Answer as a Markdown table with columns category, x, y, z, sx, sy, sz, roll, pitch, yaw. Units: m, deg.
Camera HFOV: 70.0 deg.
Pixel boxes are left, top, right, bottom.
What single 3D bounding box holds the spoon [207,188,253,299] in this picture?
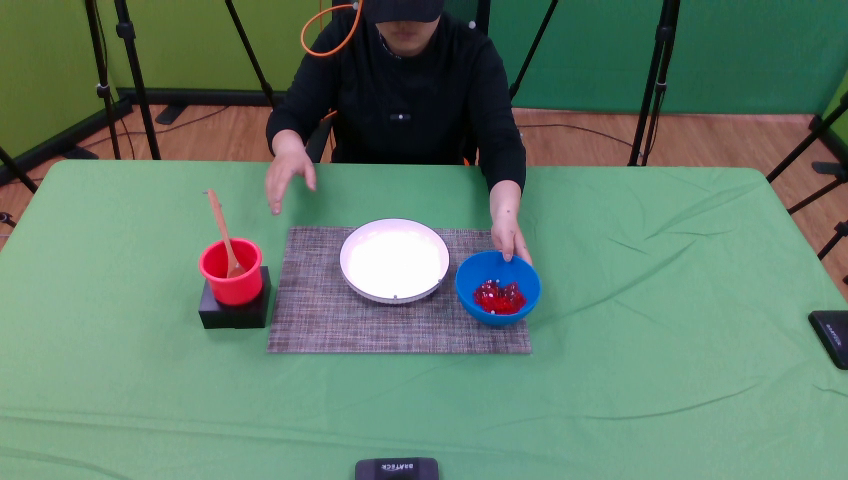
| category | x | y | z | sx | sy | sz | roll | pitch | yaw |
| --- | --- | --- | --- | --- | --- | --- | --- | --- | --- |
| spoon | -0.328 | 0.005 | 1.014 | 0.042 | 0.021 | 0.193 | -16 | 94 | -19 |

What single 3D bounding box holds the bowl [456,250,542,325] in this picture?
| category | x | y | z | sx | sy | sz | roll | pitch | yaw |
| --- | --- | --- | --- | --- | --- | --- | --- | --- | --- |
| bowl | 0.127 | 0.097 | 1.068 | 0.151 | 0.077 | 0.150 | 2 | 46 | -2 |

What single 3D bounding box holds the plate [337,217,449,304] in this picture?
| category | x | y | z | sx | sy | sz | roll | pitch | yaw |
| --- | --- | --- | --- | --- | --- | --- | --- | --- | --- |
| plate | -0.058 | 0.042 | 1.137 | 0.208 | 0.039 | 0.206 | 2 | 46 | -2 |
